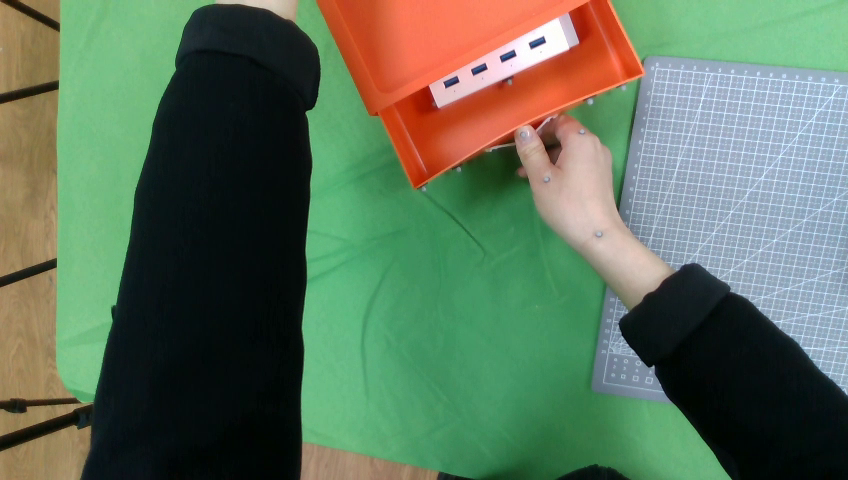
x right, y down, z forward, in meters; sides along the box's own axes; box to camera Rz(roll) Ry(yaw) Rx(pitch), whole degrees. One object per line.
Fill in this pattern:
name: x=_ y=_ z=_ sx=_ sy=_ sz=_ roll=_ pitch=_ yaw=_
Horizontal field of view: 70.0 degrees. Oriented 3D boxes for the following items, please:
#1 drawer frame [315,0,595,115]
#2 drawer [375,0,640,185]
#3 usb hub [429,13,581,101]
drawer frame: x=0.005 y=-0.235 z=0.467 sx=0.201 sy=0.082 sz=0.214 roll=-25 pitch=96 yaw=13
drawer: x=0.034 y=-0.179 z=0.483 sx=0.194 sy=0.073 sz=0.212 roll=-26 pitch=95 yaw=13
usb hub: x=0.060 y=-0.158 z=0.493 sx=0.125 sy=0.025 sz=0.050 roll=-16 pitch=111 yaw=19
